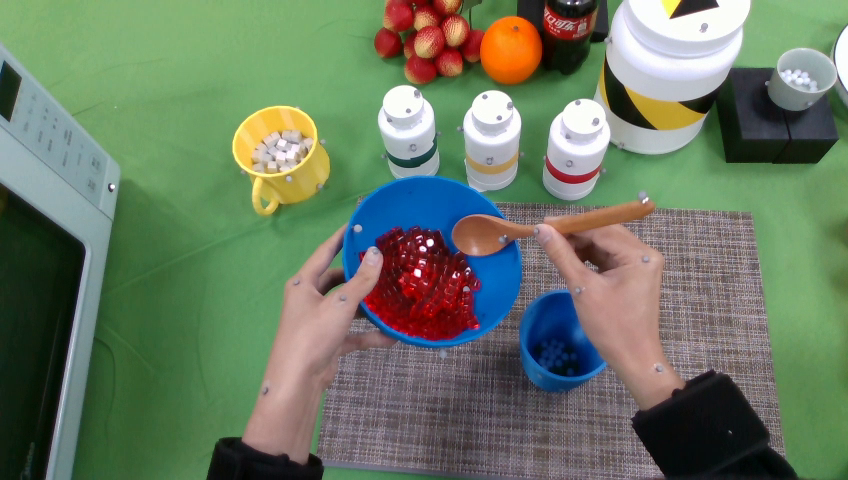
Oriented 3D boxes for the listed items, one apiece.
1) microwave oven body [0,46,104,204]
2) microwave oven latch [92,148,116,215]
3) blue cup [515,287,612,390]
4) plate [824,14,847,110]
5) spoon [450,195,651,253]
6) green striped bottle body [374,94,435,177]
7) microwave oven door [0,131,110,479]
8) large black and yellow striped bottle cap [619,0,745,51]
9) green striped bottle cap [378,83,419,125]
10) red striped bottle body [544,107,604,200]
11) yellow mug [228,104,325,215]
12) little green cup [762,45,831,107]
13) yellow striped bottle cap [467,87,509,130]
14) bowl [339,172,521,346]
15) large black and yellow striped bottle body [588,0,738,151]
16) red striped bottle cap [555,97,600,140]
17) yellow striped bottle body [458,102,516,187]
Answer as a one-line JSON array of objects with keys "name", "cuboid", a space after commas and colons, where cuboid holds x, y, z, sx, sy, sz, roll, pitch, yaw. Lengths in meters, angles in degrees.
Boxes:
[{"name": "microwave oven body", "cuboid": [-0.533, 0.065, 0.569, 0.326, 0.262, 0.438, -6, 65, 2]}, {"name": "microwave oven latch", "cuboid": [-0.391, -0.069, 0.725, 0.030, 0.030, 0.078, -4, 65, 3]}, {"name": "blue cup", "cuboid": [0.127, 0.103, 0.580, 0.092, 0.101, 0.092, -2, 64, 4]}, {"name": "plate", "cuboid": [0.581, -0.197, 0.718, 0.209, 0.038, 0.207, -2, 65, 4]}, {"name": "spoon", "cuboid": [0.087, -0.012, 0.467, 0.021, 0.193, 0.042, -41, 109, -31]}, {"name": "green striped bottle body", "cuboid": [-0.022, -0.122, 0.692, 0.063, 0.120, 0.062, -2, 64, 4]}, {"name": "microwave oven door", "cuboid": [-0.385, 0.085, 0.541, 0.039, 0.246, 0.352, -6, 65, 3]}, {"name": "large black and yellow striped bottle cap", "cuboid": [0.250, -0.233, 0.590, 0.115, 0.019, 0.114, -2, 64, 5]}, {"name": "green striped bottle cap", "cuboid": [-0.027, -0.145, 0.645, 0.044, 0.020, 0.044, -1, 64, 3]}, {"name": "red striped bottle body", "cuboid": [0.163, -0.100, 0.666, 0.063, 0.121, 0.062, -5, 60, 9]}, {"name": "yellow mug", "cuboid": [-0.179, -0.090, 0.721, 0.100, 0.064, 0.130, 12, 67, 10]}, {"name": "little green cup", "cuboid": [0.408, -0.179, 0.669, 0.061, 0.039, 0.061, -1, 64, 3]}, {"name": "yellow striped bottle cap", "cuboid": [0.067, -0.137, 0.633, 0.044, 0.019, 0.044, -2, 66, 4]}, {"name": "bowl", "cuboid": [-0.001, 0.026, 0.520, 0.152, 0.077, 0.150, 5, 65, -11]}, {"name": "large black and yellow striped bottle body", "cuboid": [0.258, -0.199, 0.667, 0.131, 0.185, 0.129, -2, 65, 5]}, {"name": "red striped bottle cap", "cuboid": [0.157, -0.125, 0.618, 0.044, 0.018, 0.044, 0, 64, 0]}, {"name": "yellow striped bottle body", "cuboid": [0.071, -0.115, 0.680, 0.063, 0.121, 0.062, -2, 64, 5]}]
